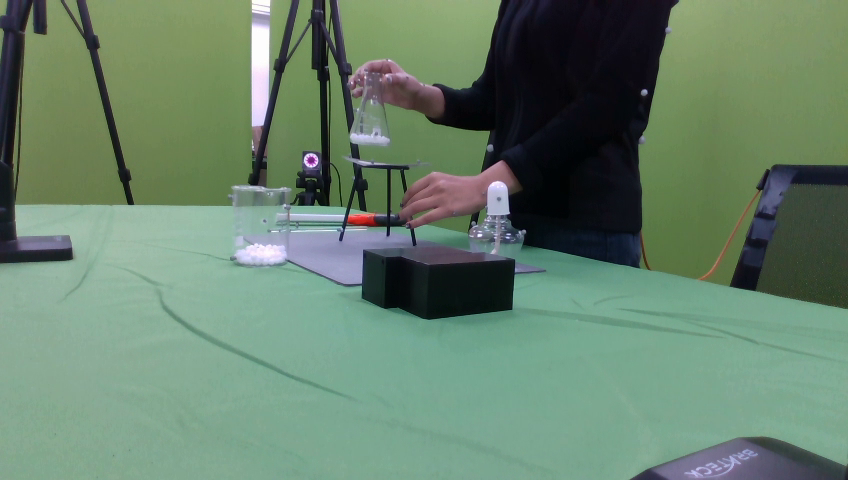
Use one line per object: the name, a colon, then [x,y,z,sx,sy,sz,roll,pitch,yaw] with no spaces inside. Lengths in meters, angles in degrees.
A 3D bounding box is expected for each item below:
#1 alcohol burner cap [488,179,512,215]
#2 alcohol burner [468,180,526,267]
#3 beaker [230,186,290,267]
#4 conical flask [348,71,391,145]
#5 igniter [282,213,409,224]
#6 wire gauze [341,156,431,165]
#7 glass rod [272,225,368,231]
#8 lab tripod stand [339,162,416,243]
alcohol burner cap: [0.101,-0.058,0.816,0.034,0.048,0.034,-4,8,1]
alcohol burner: [0.101,-0.022,0.821,0.078,0.119,0.078,4,8,0]
beaker: [-0.209,-0.019,0.778,0.074,0.100,0.084,3,6,4]
conical flask: [-0.091,-0.228,1.048,0.075,0.122,0.075,4,7,0]
igniter: [-0.159,-0.046,1.287,0.278,0.025,0.057,-1,-3,-21]
wire gauze: [-0.065,-0.131,1.017,0.122,0.011,0.124,1,8,-26]
glass rod: [-0.197,-0.024,1.169,0.201,0.008,0.008,-3,9,-33]
lab tripod stand: [-0.068,-0.065,1.027,0.148,0.131,0.148,4,7,0]
